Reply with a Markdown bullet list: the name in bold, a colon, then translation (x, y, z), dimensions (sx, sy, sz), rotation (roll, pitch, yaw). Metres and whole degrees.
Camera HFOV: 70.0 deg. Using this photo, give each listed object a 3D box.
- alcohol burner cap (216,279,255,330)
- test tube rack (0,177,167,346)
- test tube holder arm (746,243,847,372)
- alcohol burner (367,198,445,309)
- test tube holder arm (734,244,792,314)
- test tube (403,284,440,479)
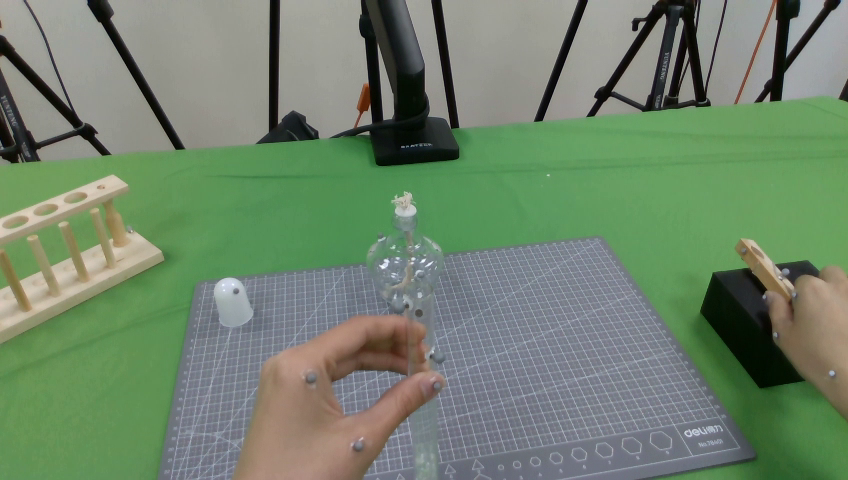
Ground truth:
- **alcohol burner cap**: translation (-0.182, 0.059, 0.581), dimensions (0.034, 0.048, 0.033), rotation (0, 37, 0)
- **test tube rack**: translation (-0.388, 0.031, 0.589), dimensions (0.066, 0.086, 0.242), rotation (27, 44, 33)
- **test tube holder arm**: translation (0.325, 0.060, 0.521), dimensions (0.013, 0.015, 0.176), rotation (-6, 37, -7)
- **alcohol burner**: translation (-0.018, 0.009, 0.589), dimensions (0.078, 0.120, 0.077), rotation (1, 37, 0)
- **test tube holder arm**: translation (0.313, 0.034, 0.556), dimensions (0.010, 0.015, 0.087), rotation (-5, 37, -5)
- **test tube**: translation (0.000, 0.088, 0.335), dimensions (0.017, 0.151, 0.017), rotation (-2, 32, 1)
